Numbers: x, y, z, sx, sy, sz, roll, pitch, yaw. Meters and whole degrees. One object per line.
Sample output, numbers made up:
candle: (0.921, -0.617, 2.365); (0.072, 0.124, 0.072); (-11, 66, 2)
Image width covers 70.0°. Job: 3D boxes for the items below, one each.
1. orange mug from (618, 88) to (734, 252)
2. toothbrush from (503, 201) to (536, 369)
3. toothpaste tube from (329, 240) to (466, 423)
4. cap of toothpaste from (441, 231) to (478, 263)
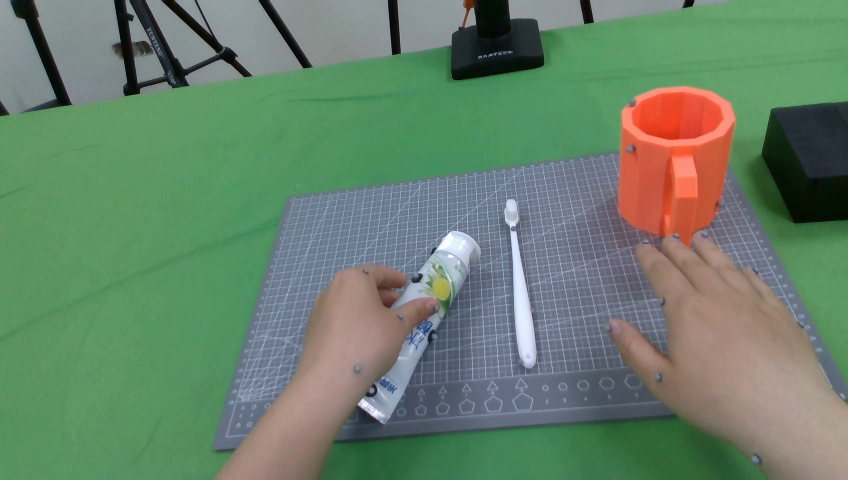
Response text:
orange mug: (0.209, -0.054, 0.507); (0.083, 0.102, 0.125); (-1, 40, 14)
toothbrush: (0.080, 0.030, 0.514); (0.014, 0.017, 0.180); (2, 45, 0)
toothpaste tube: (-0.010, 0.061, 0.483); (0.055, 0.034, 0.164); (35, 57, -1)
cap of toothpaste: (0.029, 0.008, 0.525); (0.037, 0.038, 0.011); (16, 53, 28)
